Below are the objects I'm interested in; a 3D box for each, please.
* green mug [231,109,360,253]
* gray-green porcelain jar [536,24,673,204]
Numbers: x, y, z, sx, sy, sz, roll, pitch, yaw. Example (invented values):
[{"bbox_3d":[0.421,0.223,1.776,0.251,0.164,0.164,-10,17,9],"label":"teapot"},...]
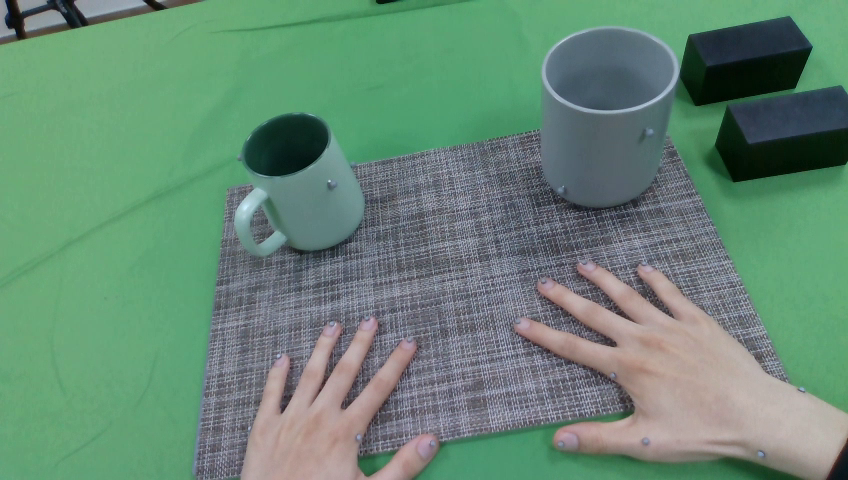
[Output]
[{"bbox_3d":[-0.121,-0.042,0.546,0.092,0.106,0.125,25,63,25],"label":"green mug"},{"bbox_3d":[0.151,-0.102,0.525,0.106,0.128,0.105,-5,54,8],"label":"gray-green porcelain jar"}]
